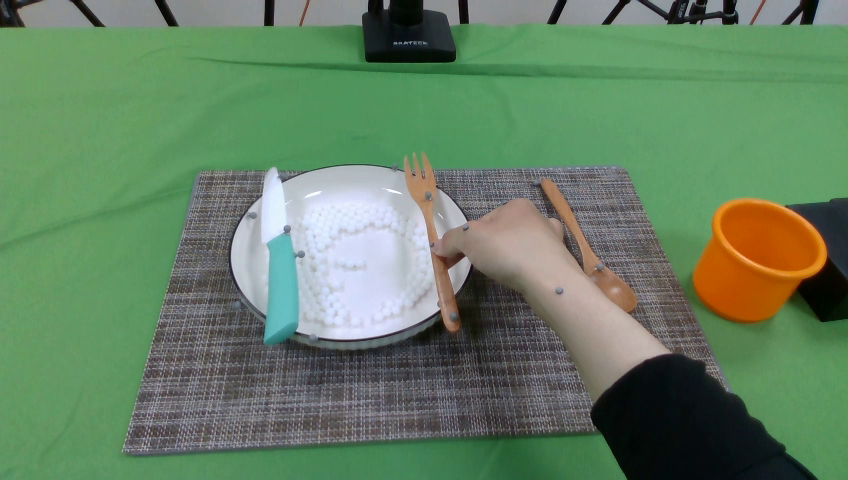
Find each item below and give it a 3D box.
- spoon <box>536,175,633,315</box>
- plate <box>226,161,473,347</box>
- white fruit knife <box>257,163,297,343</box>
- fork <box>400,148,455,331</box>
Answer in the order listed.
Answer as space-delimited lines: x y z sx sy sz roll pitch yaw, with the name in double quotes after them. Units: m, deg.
0.142 -0.003 0.567 0.041 0.022 0.191 -18 48 3 "spoon"
-0.062 0.010 0.529 0.209 0.038 0.207 2 46 -2 "plate"
-0.124 -0.001 0.504 0.027 0.016 0.205 -10 47 -8 "white fruit knife"
0.003 -0.009 0.521 0.028 0.019 0.205 -7 47 -5 "fork"
